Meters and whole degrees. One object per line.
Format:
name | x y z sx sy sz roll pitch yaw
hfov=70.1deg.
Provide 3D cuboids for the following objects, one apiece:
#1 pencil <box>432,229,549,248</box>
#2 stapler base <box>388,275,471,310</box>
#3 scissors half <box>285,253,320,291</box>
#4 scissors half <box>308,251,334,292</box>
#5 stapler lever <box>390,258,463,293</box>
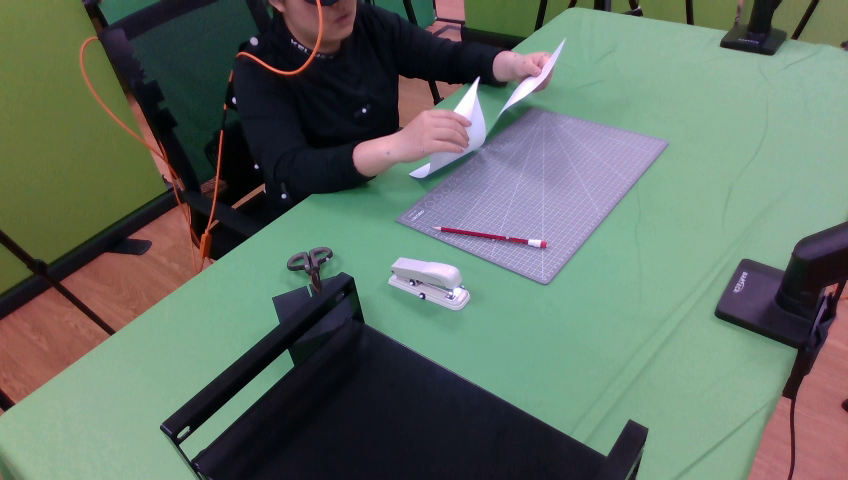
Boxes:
pencil | 0.103 -0.005 0.970 0.193 0.012 0.012 8 42 18
stapler base | 0.007 0.066 0.897 0.129 0.024 0.041 17 43 29
scissors half | -0.178 0.049 0.909 0.040 0.013 0.174 -17 19 -20
scissors half | -0.159 0.046 0.913 0.040 0.013 0.174 -6 18 -4
stapler lever | 0.003 0.046 0.881 0.117 0.040 0.027 17 44 29
